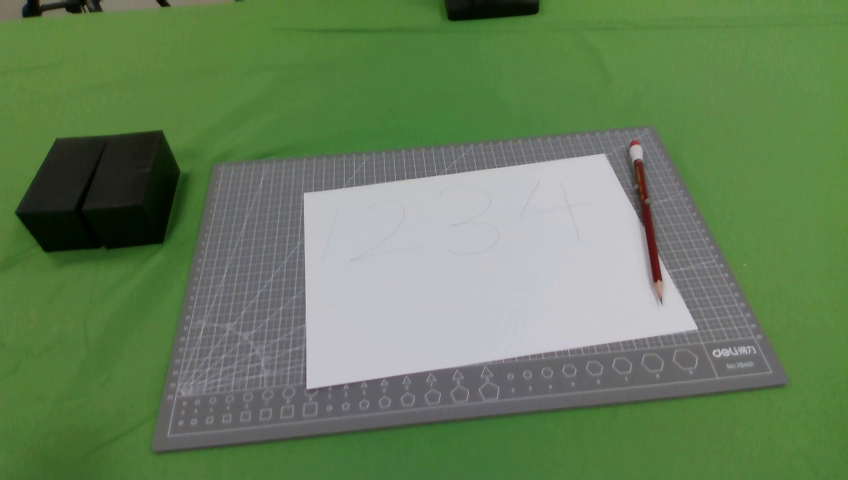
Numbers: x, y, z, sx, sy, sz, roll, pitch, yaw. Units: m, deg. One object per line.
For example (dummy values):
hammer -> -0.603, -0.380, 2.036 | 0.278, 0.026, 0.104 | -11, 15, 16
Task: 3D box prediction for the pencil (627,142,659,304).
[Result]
pencil -> 0.196, -0.022, 0.540 | 0.012, 0.012, 0.192 | 4, 50, 6
